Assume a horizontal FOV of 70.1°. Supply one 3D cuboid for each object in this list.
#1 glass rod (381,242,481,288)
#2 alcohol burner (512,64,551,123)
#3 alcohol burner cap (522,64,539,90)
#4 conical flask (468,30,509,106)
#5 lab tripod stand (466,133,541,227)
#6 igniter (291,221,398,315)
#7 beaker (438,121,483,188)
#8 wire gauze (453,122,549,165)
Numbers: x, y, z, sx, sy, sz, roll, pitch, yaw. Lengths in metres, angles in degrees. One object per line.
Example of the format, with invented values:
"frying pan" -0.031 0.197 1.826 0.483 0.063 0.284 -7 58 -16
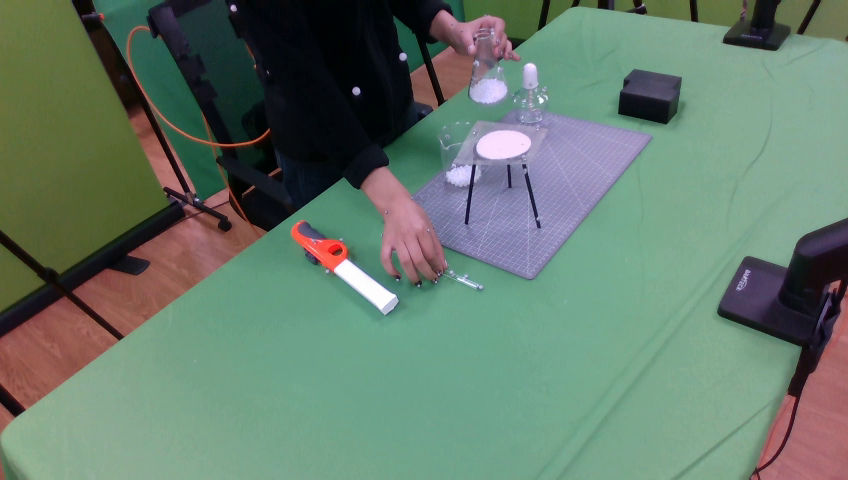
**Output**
"glass rod" 0.007 0.036 0.950 0.198 0.008 0.008 23 50 32
"alcohol burner" 0.215 -0.298 1.220 0.078 0.120 0.077 -7 40 7
"alcohol burner cap" 0.210 -0.325 1.195 0.034 0.048 0.033 -6 45 7
"conical flask" 0.109 -0.304 1.061 0.075 0.122 0.075 -6 44 7
"lab tripod stand" 0.130 -0.099 0.985 0.148 0.132 0.147 -6 39 6
"igniter" -0.136 0.037 0.963 0.057 0.025 0.274 -41 48 -18
"beaker" 0.066 -0.149 1.083 0.073 0.101 0.084 20 49 31
"wire gauze" 0.121 -0.150 0.942 0.121 0.011 0.125 8 42 21
